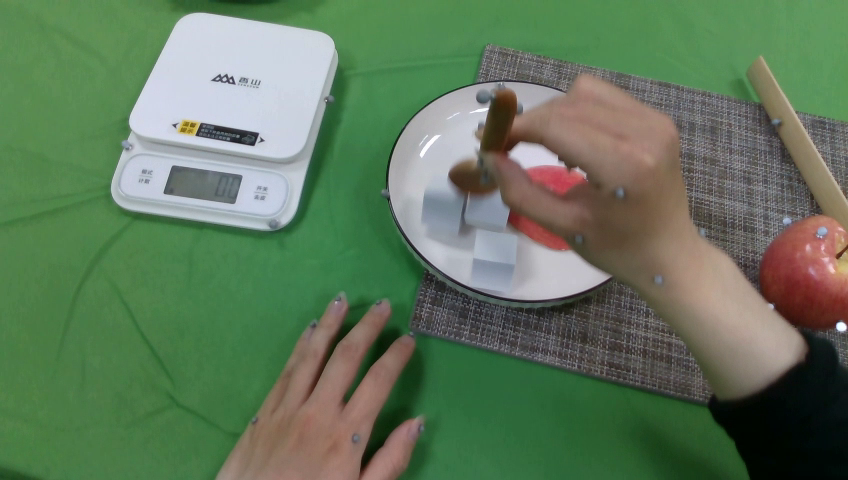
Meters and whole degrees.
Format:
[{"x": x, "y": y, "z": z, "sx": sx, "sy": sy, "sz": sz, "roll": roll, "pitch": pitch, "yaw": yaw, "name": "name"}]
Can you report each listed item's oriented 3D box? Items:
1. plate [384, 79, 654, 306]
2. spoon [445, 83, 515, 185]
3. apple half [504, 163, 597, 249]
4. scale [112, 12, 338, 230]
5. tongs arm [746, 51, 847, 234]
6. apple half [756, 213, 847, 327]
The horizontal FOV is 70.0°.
[{"x": 0.073, "y": -0.039, "z": 0.484, "sx": 0.209, "sy": 0.038, "sz": 0.207, "roll": 2, "pitch": 61, "yaw": -3, "name": "plate"}, {"x": 0.036, "y": -0.055, "z": 0.358, "sx": 0.041, "sy": 0.194, "sz": 0.021, "roll": 9, "pitch": 88, "yaw": 0, "name": "spoon"}, {"x": 0.102, "y": -0.035, "z": 0.478, "sx": 0.081, "sy": 0.033, "sz": 0.080, "roll": 3, "pitch": 63, "yaw": -5, "name": "apple half"}, {"x": -0.163, "y": -0.107, "z": 0.513, "sx": 0.148, "sy": 0.032, "sz": 0.199, "roll": 9, "pitch": 62, "yaw": 1, "name": "scale"}, {"x": 0.353, "y": -0.005, "z": 0.489, "sx": 0.028, "sy": 0.028, "sz": 0.384, "roll": -7, "pitch": 63, "yaw": -12, "name": "tongs arm"}, {"x": 0.276, "y": 0.028, "z": 0.441, "sx": 0.053, "sy": 0.075, "sz": 0.080, "roll": -22, "pitch": 68, "yaw": -10, "name": "apple half"}]
